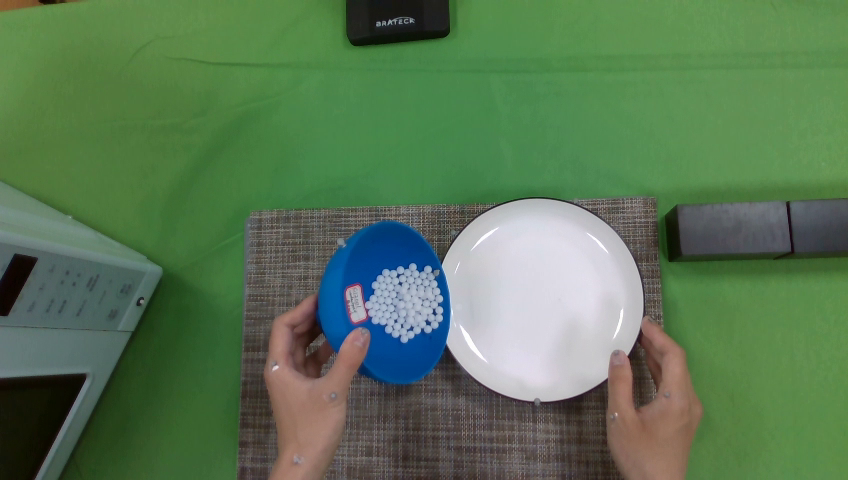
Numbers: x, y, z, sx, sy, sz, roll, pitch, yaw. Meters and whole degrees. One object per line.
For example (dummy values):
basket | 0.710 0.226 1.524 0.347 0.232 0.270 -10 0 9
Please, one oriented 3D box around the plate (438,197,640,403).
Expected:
plate | 0.110 0.060 0.621 0.207 0.039 0.207 -1 81 7

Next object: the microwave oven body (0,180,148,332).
microwave oven body | -0.543 0.138 0.587 0.325 0.261 0.441 25 86 11

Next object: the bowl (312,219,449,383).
bowl | -0.052 0.061 0.574 0.076 0.152 0.151 -12 77 38

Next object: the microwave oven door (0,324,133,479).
microwave oven door | -0.432 0.234 0.551 0.039 0.245 0.355 24 85 12

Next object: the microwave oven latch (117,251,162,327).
microwave oven latch | -0.321 0.055 0.668 0.030 0.029 0.079 27 86 11
